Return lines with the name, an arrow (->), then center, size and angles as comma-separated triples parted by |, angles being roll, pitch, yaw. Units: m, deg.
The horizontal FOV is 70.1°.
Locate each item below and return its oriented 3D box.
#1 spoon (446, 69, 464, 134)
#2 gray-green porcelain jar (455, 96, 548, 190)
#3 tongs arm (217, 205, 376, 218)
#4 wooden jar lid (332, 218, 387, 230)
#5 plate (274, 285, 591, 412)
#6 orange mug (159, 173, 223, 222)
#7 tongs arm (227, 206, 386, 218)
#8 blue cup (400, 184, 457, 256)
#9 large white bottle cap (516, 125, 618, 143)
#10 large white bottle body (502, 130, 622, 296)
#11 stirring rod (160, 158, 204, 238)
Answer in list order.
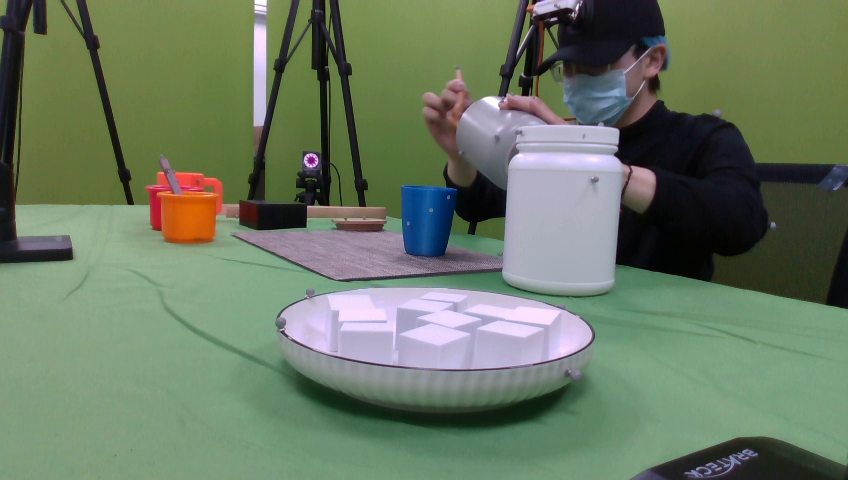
spoon -> 0.055, -0.223, 0.963 | 0.021, 0.042, 0.193 | -24, 36, 29
gray-green porcelain jar -> 0.115, -0.132, 0.832 | 0.106, 0.106, 0.126 | -1, 27, -22
tongs arm -> -0.288, -0.068, 1.435 | 0.389, 0.027, 0.028 | 0, -2, -17
wooden jar lid -> -0.129, -0.032, 1.204 | 0.108, 0.020, 0.108 | 0, 5, 0
plate -> 0.005, 0.069, 0.408 | 0.208, 0.039, 0.207 | 2, 7, 0
orange mug -> -0.477, -0.089, 1.241 | 0.127, 0.101, 0.083 | -7, 11, -33
tongs arm -> -0.251, -0.063, 1.360 | 0.387, 0.026, 0.050 | -1, 2, -31
blue cup -> 0.004, -0.030, 0.901 | 0.093, 0.100, 0.092 | 4, 9, 0
large white bottle cap -> 0.164, -0.120, 0.695 | 0.115, 0.018, 0.115 | 2, 8, 0
large white bottle body -> 0.160, -0.037, 0.706 | 0.131, 0.184, 0.130 | 2, 7, 0
stirring rod -> -0.390, -0.070, 0.972 | 0.014, 0.006, 0.175 | -2, 50, -48
